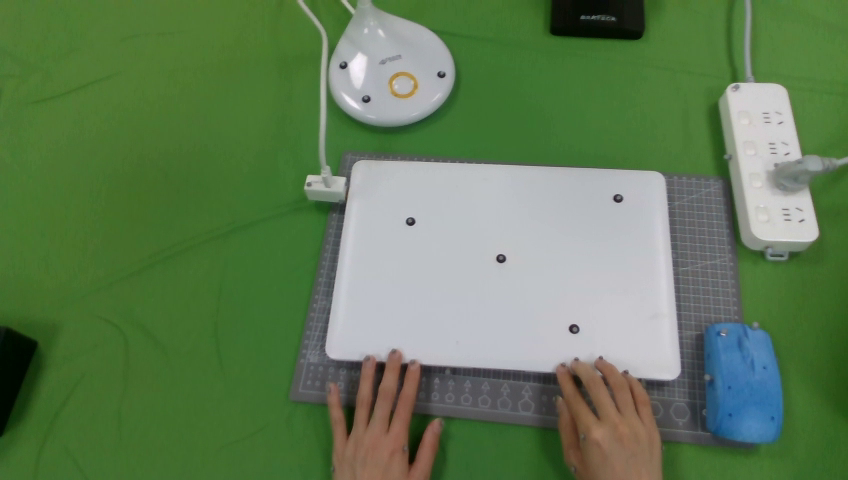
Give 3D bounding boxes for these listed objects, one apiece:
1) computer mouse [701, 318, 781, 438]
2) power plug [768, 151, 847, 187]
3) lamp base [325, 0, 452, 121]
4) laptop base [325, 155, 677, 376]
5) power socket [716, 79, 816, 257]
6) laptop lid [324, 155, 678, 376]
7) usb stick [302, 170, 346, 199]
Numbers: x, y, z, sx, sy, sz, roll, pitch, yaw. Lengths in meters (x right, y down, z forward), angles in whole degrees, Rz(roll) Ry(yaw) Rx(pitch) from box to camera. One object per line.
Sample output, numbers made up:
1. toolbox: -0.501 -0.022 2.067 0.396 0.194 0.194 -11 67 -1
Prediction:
1. computer mouse: 0.302 0.128 0.580 0.062 0.041 0.116 7 61 8
2. power plug: 0.407 -0.069 0.647 0.072 0.053 0.035 13 65 7
3. lamp base: -0.056 -0.259 0.700 0.160 0.182 0.177 -31 65 -12
4. laptop base: 0.082 0.021 0.653 0.354 0.023 0.234 3 69 4
5. power socket: 0.381 -0.090 0.683 0.072 0.033 0.225 3 65 2
6. laptop lid: 0.081 0.018 0.641 0.356 0.013 0.240 4 68 5
7. usb stick: -0.106 -0.062 0.685 0.059 0.027 0.021 7 60 2
